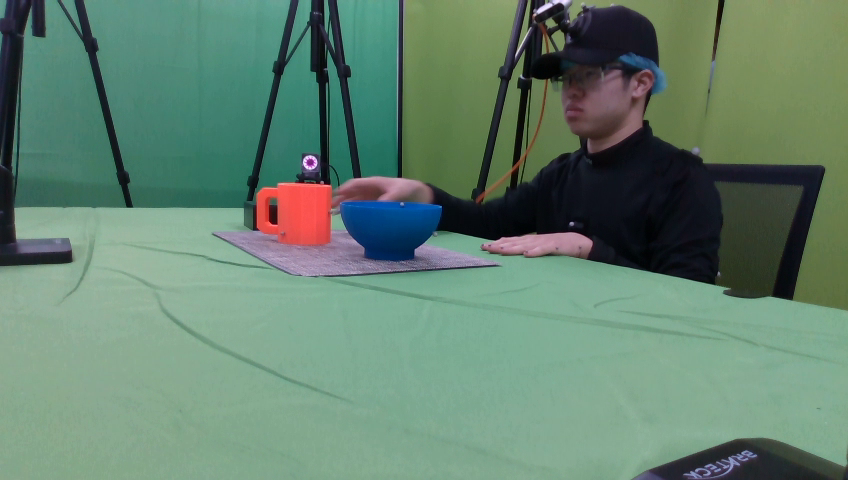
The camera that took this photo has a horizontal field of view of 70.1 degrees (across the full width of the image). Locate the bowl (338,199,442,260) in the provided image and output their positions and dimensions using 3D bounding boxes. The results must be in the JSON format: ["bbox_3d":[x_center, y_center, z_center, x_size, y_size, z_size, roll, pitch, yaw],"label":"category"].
[{"bbox_3d":[-0.050,-0.015,0.878,0.151,0.077,0.151,2,8,0],"label":"bowl"}]

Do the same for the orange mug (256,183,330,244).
[{"bbox_3d":[-0.216,-0.048,0.999,0.126,0.100,0.083,8,8,8],"label":"orange mug"}]
